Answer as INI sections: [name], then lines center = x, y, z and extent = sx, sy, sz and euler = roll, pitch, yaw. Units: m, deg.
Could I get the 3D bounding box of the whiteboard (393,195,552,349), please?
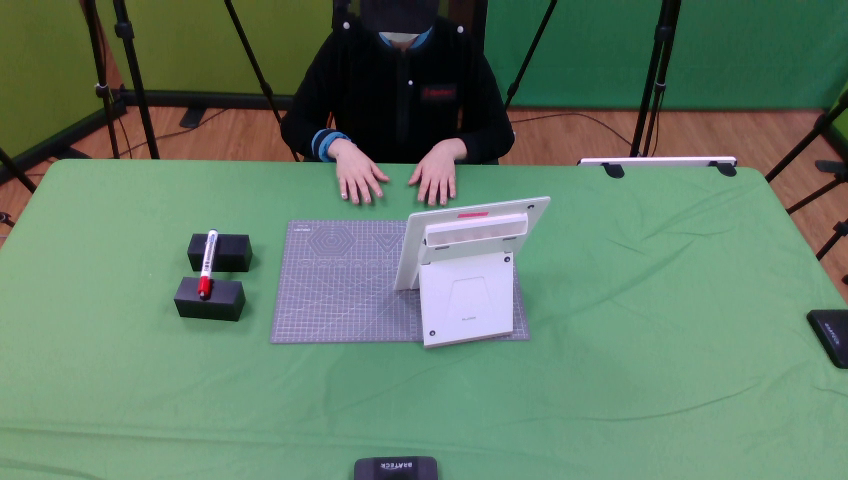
[whiteboard]
center = 0.077, 0.071, 0.977
extent = 0.217, 0.306, 0.143
euler = -7, 66, -11

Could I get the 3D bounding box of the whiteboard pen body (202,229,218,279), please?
[whiteboard pen body]
center = -0.378, 0.033, 1.068
extent = 0.017, 0.017, 0.139
euler = -2, 47, -7

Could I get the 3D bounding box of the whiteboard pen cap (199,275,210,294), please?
[whiteboard pen cap]
center = -0.372, 0.075, 1.030
extent = 0.017, 0.017, 0.032
euler = -4, 48, -8
